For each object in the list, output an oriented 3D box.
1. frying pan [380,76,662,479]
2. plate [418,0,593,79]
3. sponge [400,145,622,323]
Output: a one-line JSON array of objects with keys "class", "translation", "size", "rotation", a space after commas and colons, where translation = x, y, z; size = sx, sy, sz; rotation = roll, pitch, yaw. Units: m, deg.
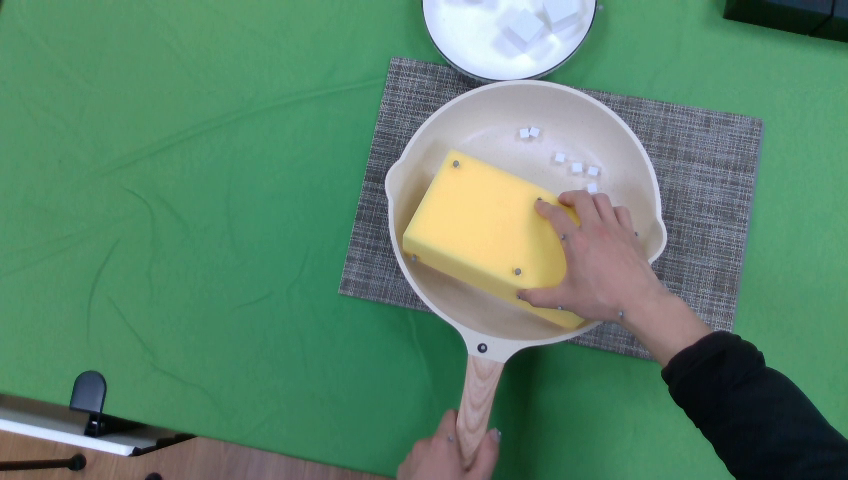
[{"class": "frying pan", "translation": [0.077, 0.063, 0.654], "size": [0.306, 0.103, 0.485], "rotation": [14, 76, 7]}, {"class": "plate", "translation": [0.097, -0.291, 0.735], "size": [0.207, 0.039, 0.207], "rotation": [0, 83, 4]}, {"class": "sponge", "translation": [0.091, -0.006, 0.660], "size": [0.206, 0.061, 0.117], "rotation": [23, 71, 6]}]
